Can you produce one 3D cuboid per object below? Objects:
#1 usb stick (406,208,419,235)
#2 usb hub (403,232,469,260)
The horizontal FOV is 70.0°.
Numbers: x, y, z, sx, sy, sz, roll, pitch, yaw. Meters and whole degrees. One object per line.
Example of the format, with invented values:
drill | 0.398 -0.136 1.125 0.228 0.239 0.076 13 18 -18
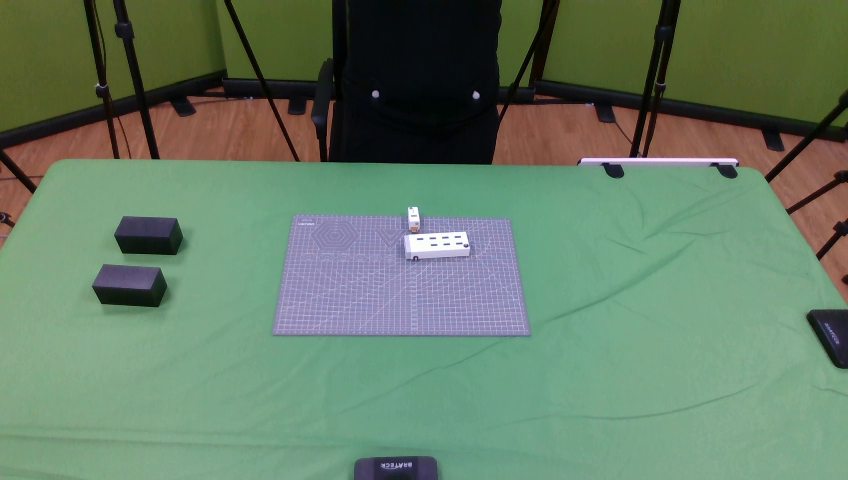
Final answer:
usb stick | -0.023 -0.037 1.225 0.021 0.027 0.059 0 49 -9
usb hub | 0.023 0.012 1.182 0.125 0.025 0.049 -3 47 -7
